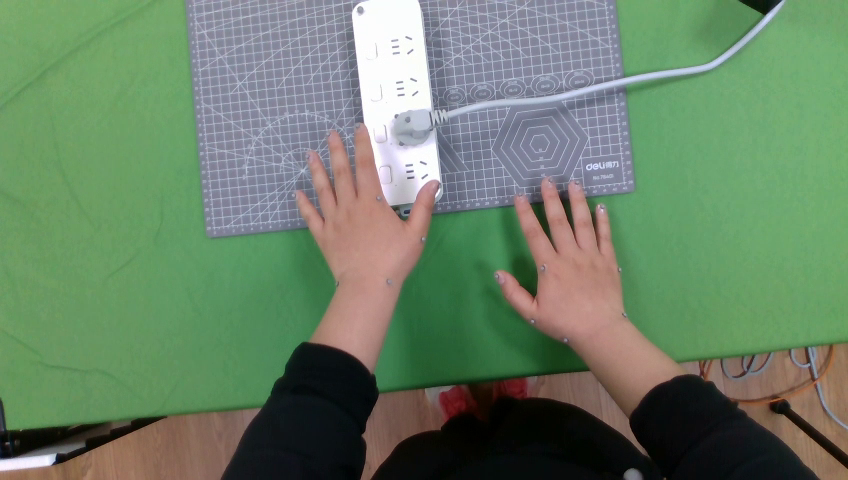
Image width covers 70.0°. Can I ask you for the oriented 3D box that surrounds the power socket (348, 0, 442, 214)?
[{"bbox_3d":[-0.030,-0.140,0.618,0.072,0.032,0.226,-7,88,3],"label":"power socket"}]

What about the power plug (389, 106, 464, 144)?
[{"bbox_3d":[0.002,-0.112,0.597,0.072,0.052,0.035,4,89,2],"label":"power plug"}]
